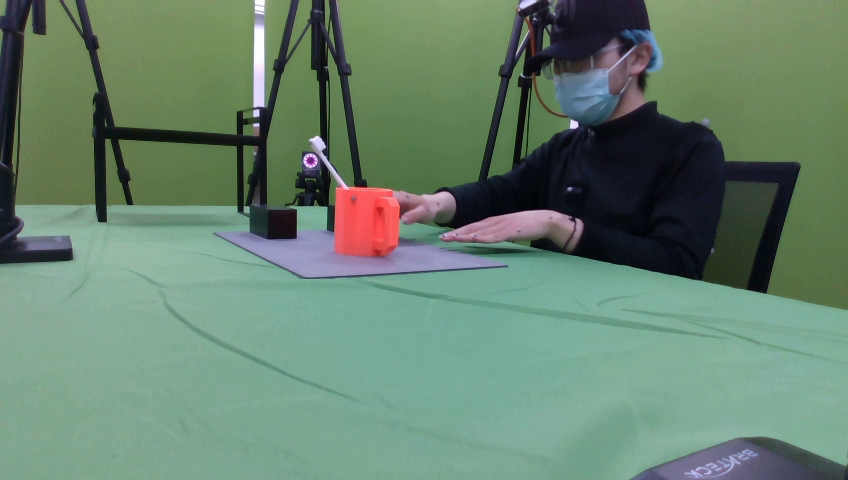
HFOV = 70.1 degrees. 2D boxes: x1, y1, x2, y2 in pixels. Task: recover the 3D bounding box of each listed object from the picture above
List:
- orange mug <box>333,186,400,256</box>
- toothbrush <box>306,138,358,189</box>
[{"bbox_3d":[-0.080,-0.029,0.888,0.084,0.100,0.125,-3,5,-40],"label":"orange mug"},{"bbox_3d":[-0.107,-0.080,0.892,0.014,0.182,0.016,-38,12,18],"label":"toothbrush"}]
